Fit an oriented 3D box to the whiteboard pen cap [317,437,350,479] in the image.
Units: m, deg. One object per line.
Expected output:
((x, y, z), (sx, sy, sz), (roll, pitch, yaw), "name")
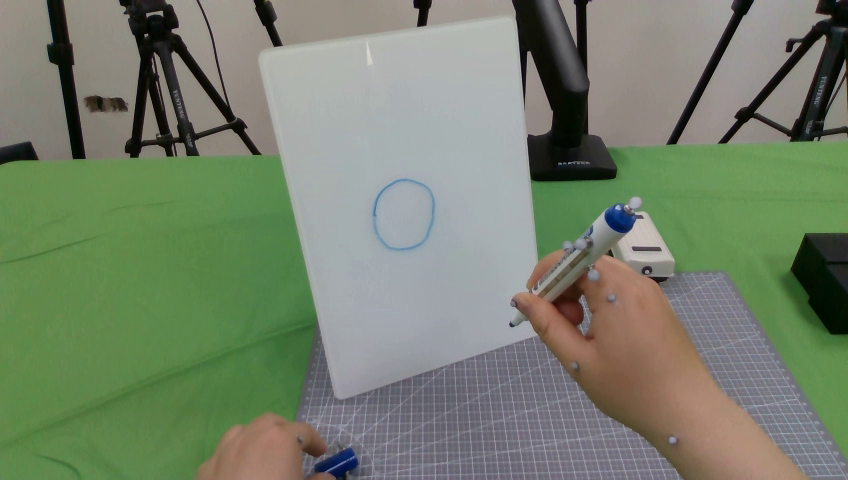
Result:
((-0.072, 0.174, 0.478), (0.018, 0.018, 0.033), (10, 55, 15), "whiteboard pen cap")

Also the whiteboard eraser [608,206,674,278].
((0.239, 0.001, 0.689), (0.055, 0.042, 0.111), (-2, 32, 3), "whiteboard eraser")

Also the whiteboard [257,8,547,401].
((-0.023, -0.042, 0.583), (0.218, 0.307, 0.142), (-15, 19, -16), "whiteboard")

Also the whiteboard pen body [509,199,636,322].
((0.078, 0.019, 0.349), (0.017, 0.141, 0.017), (8, 58, -13), "whiteboard pen body")
